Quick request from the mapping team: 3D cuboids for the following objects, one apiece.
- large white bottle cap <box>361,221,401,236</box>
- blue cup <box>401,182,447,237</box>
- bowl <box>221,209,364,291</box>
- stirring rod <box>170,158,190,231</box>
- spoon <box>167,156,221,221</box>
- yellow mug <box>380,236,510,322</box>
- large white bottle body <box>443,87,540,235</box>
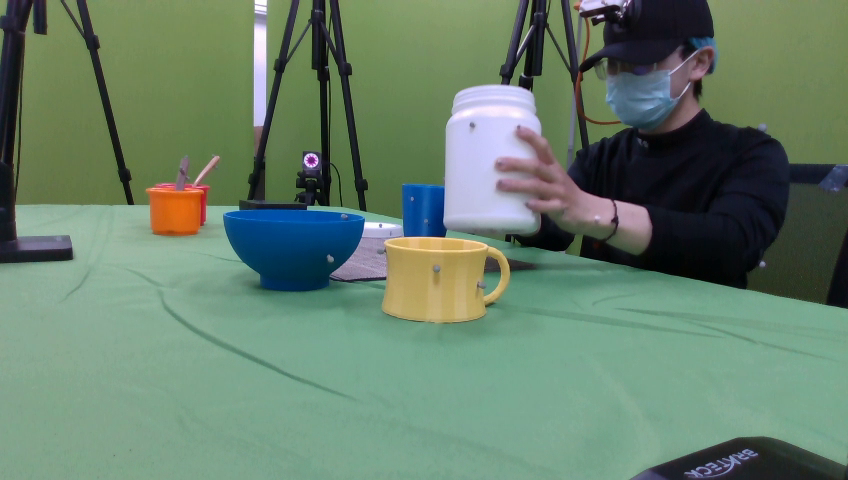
[{"bbox_3d":[-0.099,-0.021,1.123,0.115,0.018,0.115,3,7,0],"label":"large white bottle cap"},{"bbox_3d":[0.003,-0.039,0.966,0.093,0.100,0.092,4,9,0],"label":"blue cup"},{"bbox_3d":[-0.142,0.011,0.660,0.151,0.077,0.151,2,7,0],"label":"bowl"},{"bbox_3d":[-0.426,-0.083,1.059,0.014,0.006,0.175,2,49,-14],"label":"stirring rod"},{"bbox_3d":[-0.447,-0.104,1.192,0.041,0.022,0.193,6,52,15],"label":"spoon"},{"bbox_3d":[0.024,0.034,0.575,0.131,0.064,0.099,0,7,-22],"label":"yellow mug"},{"bbox_3d":[0.092,-0.102,0.818,0.131,0.184,0.130,1,-3,0],"label":"large white bottle body"}]
